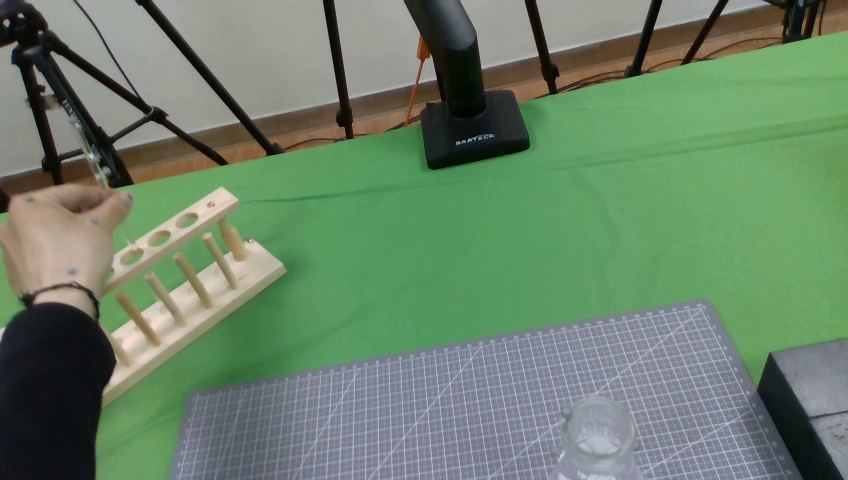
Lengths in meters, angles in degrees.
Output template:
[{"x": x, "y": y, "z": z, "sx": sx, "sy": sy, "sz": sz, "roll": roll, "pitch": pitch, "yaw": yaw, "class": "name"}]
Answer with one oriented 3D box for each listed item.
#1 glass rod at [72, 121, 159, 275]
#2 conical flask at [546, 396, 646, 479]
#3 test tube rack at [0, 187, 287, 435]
[{"x": -0.264, "y": -0.018, "z": 0.537, "sx": 0.008, "sy": 0.201, "sz": 0.008, "roll": -3, "pitch": 42, "yaw": 3, "class": "glass rod"}, {"x": 0.102, "y": 0.138, "z": 0.355, "sx": 0.075, "sy": 0.123, "sz": 0.074, "roll": -8, "pitch": 44, "yaw": 8, "class": "conical flask"}, {"x": -0.257, "y": 0.059, "z": 0.566, "sx": 0.242, "sy": 0.086, "sz": 0.066, "roll": -39, "pitch": 48, "yaw": -22, "class": "test tube rack"}]
